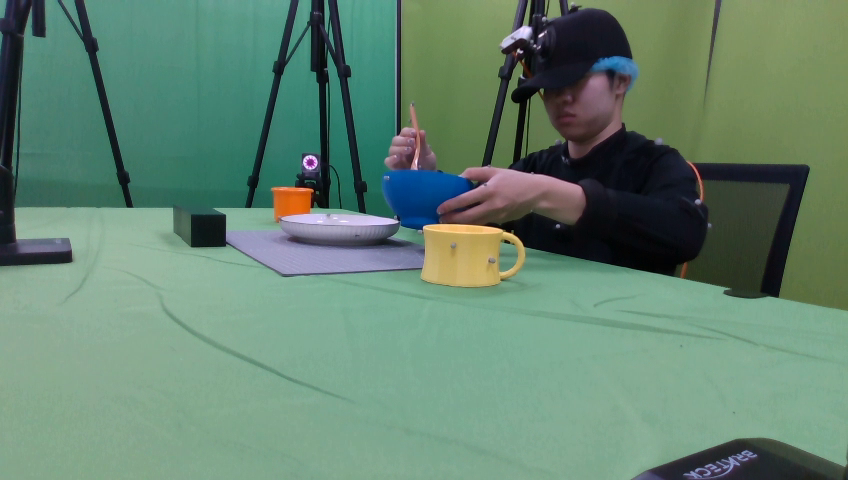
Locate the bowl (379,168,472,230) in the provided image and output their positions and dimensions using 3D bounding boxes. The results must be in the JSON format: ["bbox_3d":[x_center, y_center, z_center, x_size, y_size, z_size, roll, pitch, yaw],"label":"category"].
[{"bbox_3d":[-0.001,-0.059,0.962,0.151,0.076,0.151,6,-6,1],"label":"bowl"}]

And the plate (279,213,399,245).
[{"bbox_3d":[-0.147,-0.019,1.060,0.209,0.038,0.209,3,7,0],"label":"plate"}]

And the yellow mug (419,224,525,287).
[{"bbox_3d":[0.060,0.018,0.746,0.131,0.064,0.100,3,7,-7],"label":"yellow mug"}]

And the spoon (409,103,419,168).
[{"bbox_3d":[-0.016,-0.160,1.032,0.022,0.193,0.041,2,-32,-4],"label":"spoon"}]
